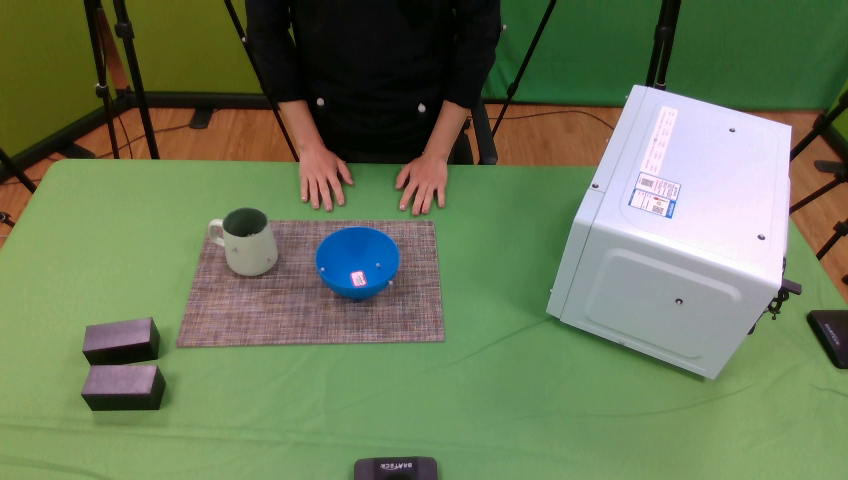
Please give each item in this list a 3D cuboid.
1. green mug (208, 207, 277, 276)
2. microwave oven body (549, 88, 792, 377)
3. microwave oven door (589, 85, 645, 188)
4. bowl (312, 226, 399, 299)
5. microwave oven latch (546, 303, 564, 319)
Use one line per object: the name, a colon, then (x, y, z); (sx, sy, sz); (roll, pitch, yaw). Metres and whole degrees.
green mug: (-0.335, 0.000, 1.108); (0.125, 0.105, 0.092); (14, 47, 9)
microwave oven body: (0.456, -0.028, 1.088); (0.325, 0.261, 0.440); (20, 47, 16)
microwave oven door: (0.342, -0.107, 1.149); (0.039, 0.245, 0.354); (20, 48, 15)
bowl: (-0.121, 0.054, 1.091); (0.151, 0.077, 0.150); (2, 46, -2)
microwave oven latch: (0.242, 0.102, 1.081); (0.030, 0.029, 0.079); (21, 48, 17)
